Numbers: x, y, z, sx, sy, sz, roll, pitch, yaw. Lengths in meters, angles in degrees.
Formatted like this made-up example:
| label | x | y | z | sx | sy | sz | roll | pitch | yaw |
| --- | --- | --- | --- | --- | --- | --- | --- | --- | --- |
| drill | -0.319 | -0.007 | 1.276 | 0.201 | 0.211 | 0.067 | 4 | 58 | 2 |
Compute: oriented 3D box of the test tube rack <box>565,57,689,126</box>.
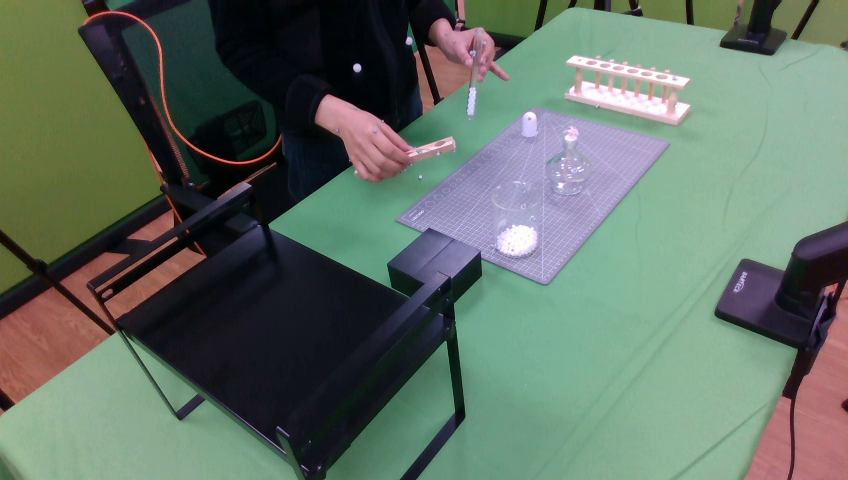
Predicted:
| label | x | y | z | sx | sy | sz | roll | pitch | yaw |
| --- | --- | --- | --- | --- | --- | --- | --- | --- | --- |
| test tube rack | 0.412 | -0.311 | 1.230 | 0.240 | 0.085 | 0.067 | 24 | 49 | 32 |

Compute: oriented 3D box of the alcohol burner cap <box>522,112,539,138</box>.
| label | x | y | z | sx | sy | sz | roll | pitch | yaw |
| --- | --- | --- | --- | --- | --- | --- | --- | --- | --- |
| alcohol burner cap | 0.210 | -0.230 | 1.195 | 0.034 | 0.048 | 0.033 | -6 | 41 | 5 |

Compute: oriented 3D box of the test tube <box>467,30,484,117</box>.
| label | x | y | z | sx | sy | sz | roll | pitch | yaw |
| --- | --- | --- | --- | --- | --- | --- | --- | --- | --- |
| test tube | 0.091 | -0.294 | 1.076 | 0.017 | 0.150 | 0.017 | 4 | 23 | -1 |

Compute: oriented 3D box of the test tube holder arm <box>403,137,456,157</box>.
| label | x | y | z | sx | sy | sz | roll | pitch | yaw |
| --- | --- | --- | --- | --- | --- | --- | --- | --- | --- |
| test tube holder arm | 0.008 | -0.141 | 0.946 | 0.087 | 0.015 | 0.010 | -16 | 42 | 22 |

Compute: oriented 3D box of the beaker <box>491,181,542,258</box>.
| label | x | y | z | sx | sy | sz | roll | pitch | yaw |
| --- | --- | --- | --- | --- | --- | --- | --- | --- | --- |
| beaker | 0.144 | -0.030 | 0.925 | 0.073 | 0.101 | 0.084 | 23 | 48 | 31 |

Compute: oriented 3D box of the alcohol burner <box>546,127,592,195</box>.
| label | x | y | z | sx | sy | sz | roll | pitch | yaw |
| --- | --- | --- | --- | --- | --- | --- | --- | --- | --- |
| alcohol burner | 0.246 | -0.137 | 1.024 | 0.078 | 0.119 | 0.077 | -4 | 38 | 4 |

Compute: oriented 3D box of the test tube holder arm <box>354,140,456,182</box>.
| label | x | y | z | sx | sy | sz | roll | pitch | yaw |
| --- | --- | --- | --- | --- | --- | --- | --- | --- | --- |
| test tube holder arm | -0.033 | -0.125 | 0.959 | 0.178 | 0.015 | 0.013 | -17 | 42 | 21 |
